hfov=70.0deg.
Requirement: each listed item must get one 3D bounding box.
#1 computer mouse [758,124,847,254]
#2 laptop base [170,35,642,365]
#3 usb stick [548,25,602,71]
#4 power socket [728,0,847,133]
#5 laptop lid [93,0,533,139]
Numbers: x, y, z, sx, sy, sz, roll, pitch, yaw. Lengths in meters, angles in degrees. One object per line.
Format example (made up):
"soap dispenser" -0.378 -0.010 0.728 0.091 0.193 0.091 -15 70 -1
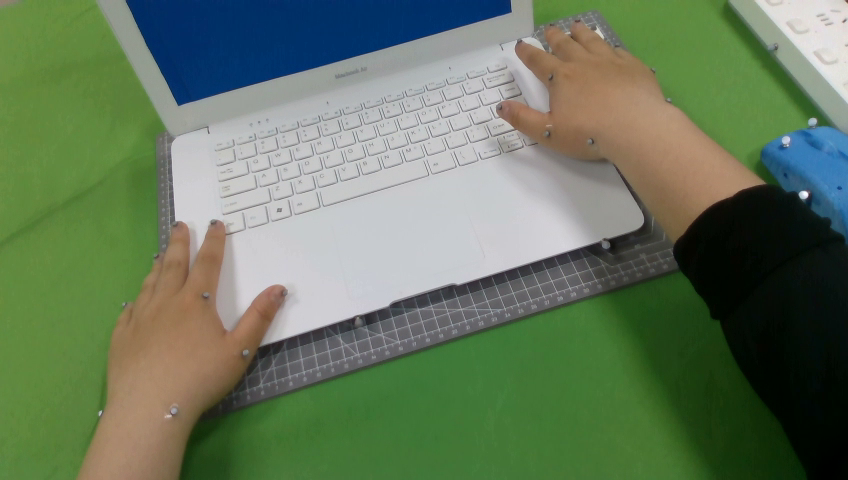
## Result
"computer mouse" 0.303 -0.044 0.443 0.063 0.041 0.116 -17 51 -1
"laptop base" -0.032 -0.049 0.506 0.354 0.023 0.233 -17 59 -3
"usb stick" 0.130 -0.172 0.552 0.059 0.027 0.021 -19 56 0
"power socket" 0.345 -0.174 0.527 0.072 0.033 0.224 -14 56 -1
"laptop lid" -0.085 -0.224 0.491 0.357 0.244 0.013 -18 43 -2
